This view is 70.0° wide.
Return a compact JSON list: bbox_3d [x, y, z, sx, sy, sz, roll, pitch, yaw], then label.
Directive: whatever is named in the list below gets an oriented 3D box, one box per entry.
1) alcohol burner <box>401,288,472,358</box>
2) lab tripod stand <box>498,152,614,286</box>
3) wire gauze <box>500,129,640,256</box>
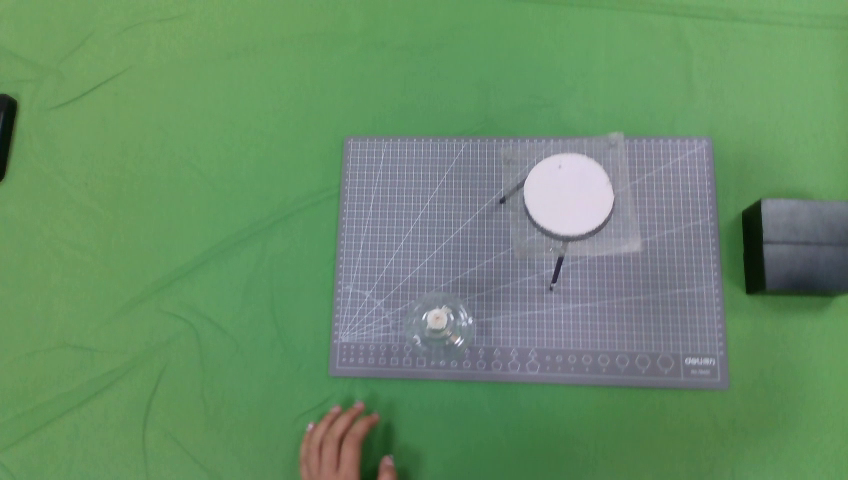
[{"bbox_3d":[0.013,0.087,0.651,0.078,0.119,0.077,0,77,2],"label":"alcohol burner"},{"bbox_3d":[0.148,-0.034,0.658,0.148,0.132,0.147,-1,76,3],"label":"lab tripod stand"},{"bbox_3d":[0.141,-0.046,0.593,0.125,0.011,0.121,-5,78,2],"label":"wire gauze"}]
